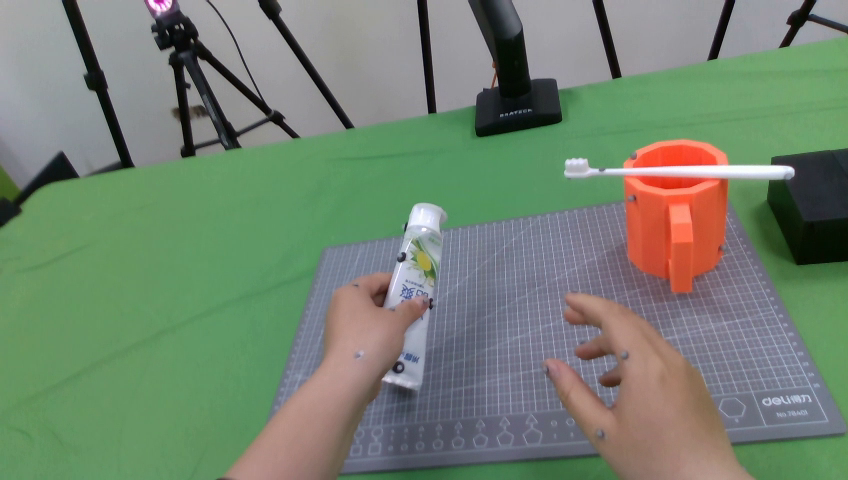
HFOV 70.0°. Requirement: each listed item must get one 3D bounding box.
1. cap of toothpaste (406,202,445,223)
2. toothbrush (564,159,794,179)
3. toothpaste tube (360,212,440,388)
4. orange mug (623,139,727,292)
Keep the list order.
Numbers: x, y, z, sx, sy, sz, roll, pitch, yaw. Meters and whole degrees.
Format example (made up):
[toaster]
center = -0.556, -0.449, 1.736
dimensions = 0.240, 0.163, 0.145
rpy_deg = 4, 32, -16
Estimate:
[cap of toothpaste]
center = 0.002, -0.023, 0.571
dimensions = 0.037, 0.038, 0.011
rpy_deg = 2, 60, 24
[toothbrush]
center = 0.208, -0.060, 0.513
dimensions = 0.181, 0.017, 0.014
rpy_deg = 4, 34, 26
[toothpaste tube]
center = -0.014, 0.044, 0.536
dimensions = 0.055, 0.034, 0.164
rpy_deg = 17, 62, -13
[orange mug]
center = 0.224, -0.018, 0.540
dimensions = 0.083, 0.102, 0.125
rpy_deg = -3, 35, 19
